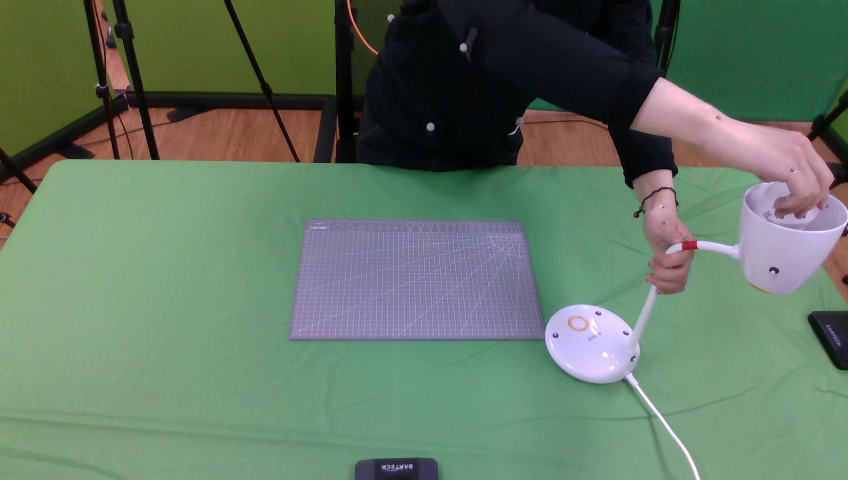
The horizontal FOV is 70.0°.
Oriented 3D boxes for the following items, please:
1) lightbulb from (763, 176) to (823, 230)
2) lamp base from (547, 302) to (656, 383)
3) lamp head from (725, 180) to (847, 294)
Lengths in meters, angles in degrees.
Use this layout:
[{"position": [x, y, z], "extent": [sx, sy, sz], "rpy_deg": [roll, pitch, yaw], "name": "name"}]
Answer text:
[{"position": [0.428, -0.024, 0.710], "extent": [0.059, 0.108, 0.059], "rpy_deg": [-9, 32, 6], "name": "lightbulb"}, {"position": [0.304, 0.127, 0.982], "extent": [0.160, 0.181, 0.178], "rpy_deg": [-33, 59, -29], "name": "lamp base"}, {"position": [0.428, 0.003, 0.728], "extent": [0.112, 0.123, 0.111], "rpy_deg": [0, 39, 0], "name": "lamp head"}]
